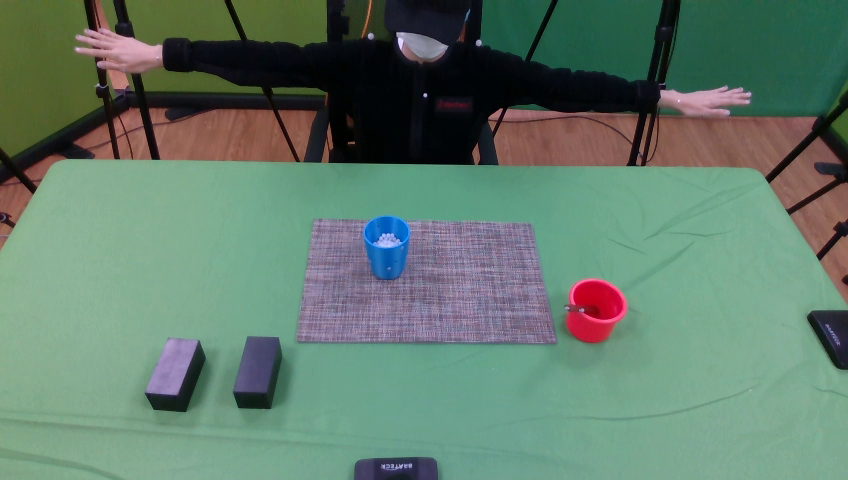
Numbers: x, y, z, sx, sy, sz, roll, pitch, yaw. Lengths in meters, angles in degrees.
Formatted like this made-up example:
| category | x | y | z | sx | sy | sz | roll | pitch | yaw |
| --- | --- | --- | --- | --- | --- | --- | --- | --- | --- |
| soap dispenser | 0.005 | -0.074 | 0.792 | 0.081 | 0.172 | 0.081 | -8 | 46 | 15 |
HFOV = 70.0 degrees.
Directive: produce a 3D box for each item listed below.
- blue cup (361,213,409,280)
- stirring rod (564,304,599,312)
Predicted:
| category | x | y | z | sx | sy | sz | roll | pitch | yaw |
| --- | --- | --- | --- | --- | --- | --- | --- | --- | --- |
| blue cup | -0.070 | 0.020 | 1.113 | 0.093 | 0.101 | 0.092 | 1 | 46 | -1 |
| stirring rod | 0.270 | 0.116 | 1.028 | 0.014 | 0.006 | 0.177 | 44 | 16 | 27 |
